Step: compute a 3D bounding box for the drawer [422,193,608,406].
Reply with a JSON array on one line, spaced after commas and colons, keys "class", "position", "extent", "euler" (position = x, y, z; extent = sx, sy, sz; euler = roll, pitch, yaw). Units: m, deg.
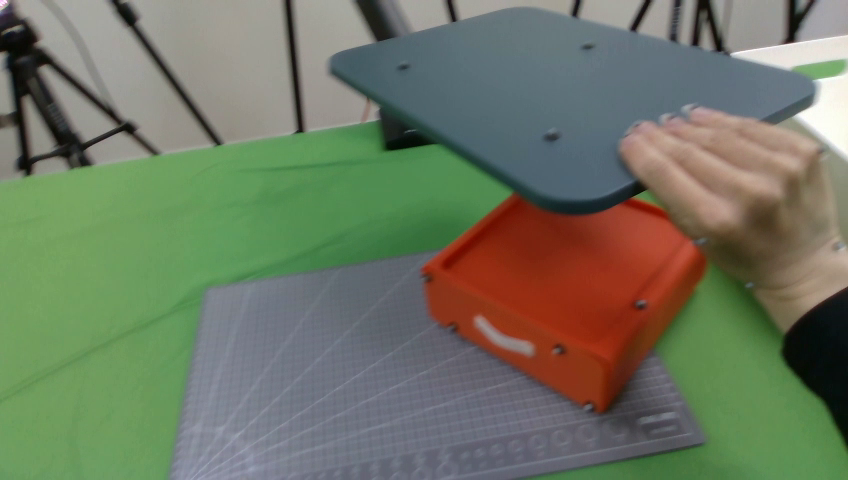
[{"class": "drawer", "position": [0.139, 0.032, 0.601], "extent": [0.192, 0.074, 0.211], "euler": [26, 49, 35]}]

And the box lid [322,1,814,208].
[{"class": "box lid", "position": [0.096, -0.144, 0.525], "extent": [0.263, 0.015, 0.367], "euler": [-25, 39, -23]}]

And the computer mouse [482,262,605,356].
[{"class": "computer mouse", "position": [0.116, 0.062, 0.589], "extent": [0.116, 0.041, 0.063], "euler": [31, 50, 29]}]

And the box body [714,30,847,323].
[{"class": "box body", "position": [0.487, -0.062, 0.597], "extent": [0.254, 0.162, 0.360], "euler": [-9, 40, -2]}]

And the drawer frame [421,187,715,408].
[{"class": "drawer frame", "position": [0.141, 0.028, 0.602], "extent": [0.200, 0.083, 0.213], "euler": [26, 49, 34]}]
